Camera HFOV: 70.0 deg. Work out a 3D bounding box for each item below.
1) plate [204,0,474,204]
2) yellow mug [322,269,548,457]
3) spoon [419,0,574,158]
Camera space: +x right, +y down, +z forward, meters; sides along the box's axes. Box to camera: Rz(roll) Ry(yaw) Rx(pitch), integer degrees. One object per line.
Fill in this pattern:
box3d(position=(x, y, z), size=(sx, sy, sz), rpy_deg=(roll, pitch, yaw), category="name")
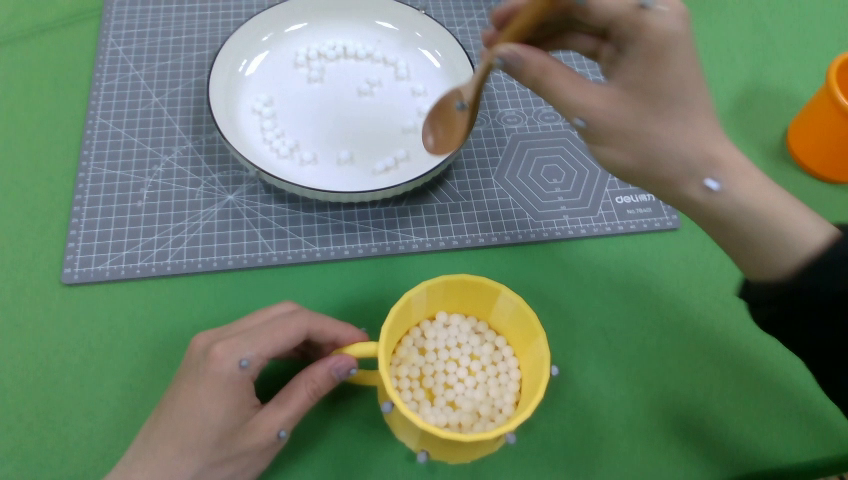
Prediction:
box3d(position=(-0.063, -0.112, 0.480), size=(0.208, 0.039, 0.206), rpy_deg=(3, 61, -4), category="plate")
box3d(position=(0.004, 0.075, 0.369), size=(0.131, 0.064, 0.099), rpy_deg=(2, 61, -5), category="yellow mug")
box3d(position=(0.040, -0.094, 0.327), size=(0.022, 0.194, 0.041), rpy_deg=(-2, 75, -22), category="spoon")
